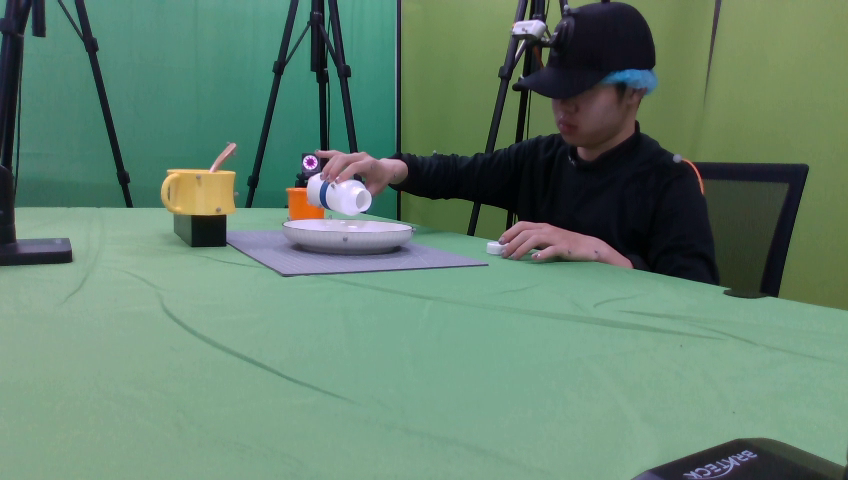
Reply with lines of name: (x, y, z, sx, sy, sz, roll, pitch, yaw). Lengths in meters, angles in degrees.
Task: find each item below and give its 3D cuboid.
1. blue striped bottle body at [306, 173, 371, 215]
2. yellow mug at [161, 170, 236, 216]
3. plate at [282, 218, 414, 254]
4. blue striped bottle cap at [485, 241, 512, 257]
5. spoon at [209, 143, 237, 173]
blue striped bottle body: (-0.148, -0.080, 1.069, 0.120, 0.063, 0.063, 15, 14, 39)
yellow mug: (-0.354, -0.074, 0.935, 0.099, 0.064, 0.131, 5, 9, 21)
plate: (-0.121, -0.007, 0.971, 0.208, 0.039, 0.207, 2, 7, 0)
blue striped bottle cap: (0.123, 0.015, 1.000, 0.044, 0.020, 0.044, 6, 7, 0)
spoon: (-0.341, -0.113, 0.990, 0.041, 0.021, 0.193, 1, 40, 7)
